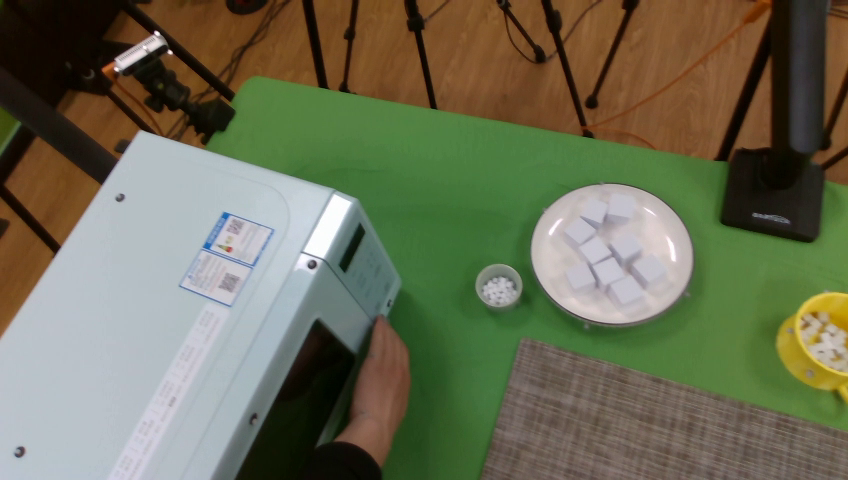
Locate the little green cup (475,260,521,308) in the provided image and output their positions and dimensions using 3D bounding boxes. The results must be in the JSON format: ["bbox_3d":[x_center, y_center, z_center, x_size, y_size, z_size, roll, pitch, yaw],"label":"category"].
[{"bbox_3d":[0.100,0.062,0.815,0.061,0.039,0.061,-4,65,8],"label":"little green cup"}]

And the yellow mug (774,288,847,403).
[{"bbox_3d":[0.478,0.127,0.703,0.100,0.064,0.129,-12,65,4],"label":"yellow mug"}]

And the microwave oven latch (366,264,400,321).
[{"bbox_3d":[-0.059,0.068,0.822,0.030,0.030,0.079,21,71,18],"label":"microwave oven latch"}]

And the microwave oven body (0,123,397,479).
[{"bbox_3d":[-0.279,0.136,0.722,0.324,0.262,0.440,18,70,17],"label":"microwave oven body"}]

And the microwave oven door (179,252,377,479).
[{"bbox_3d":[-0.165,0.213,0.660,0.039,0.246,0.354,18,69,18],"label":"microwave oven door"}]

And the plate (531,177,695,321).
[{"bbox_3d":[0.250,0.013,0.813,0.207,0.039,0.206,-4,65,9],"label":"plate"}]
